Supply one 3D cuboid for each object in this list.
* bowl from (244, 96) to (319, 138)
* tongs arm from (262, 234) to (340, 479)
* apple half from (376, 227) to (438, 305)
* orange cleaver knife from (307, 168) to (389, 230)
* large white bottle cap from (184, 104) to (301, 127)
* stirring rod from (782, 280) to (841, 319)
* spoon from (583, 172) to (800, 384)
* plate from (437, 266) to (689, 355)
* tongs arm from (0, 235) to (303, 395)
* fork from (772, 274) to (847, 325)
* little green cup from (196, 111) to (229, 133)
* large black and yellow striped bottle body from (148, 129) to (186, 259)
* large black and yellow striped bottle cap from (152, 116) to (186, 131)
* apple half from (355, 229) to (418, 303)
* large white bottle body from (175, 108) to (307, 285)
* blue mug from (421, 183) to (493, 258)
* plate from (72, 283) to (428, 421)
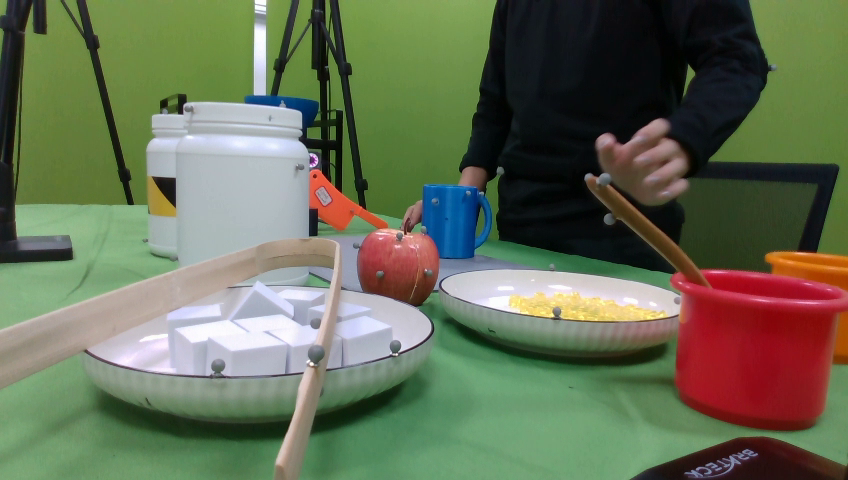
[{"bbox_3d":[-0.295,-0.252,1.254,0.151,0.077,0.151,2,7,0],"label":"bowl"},{"bbox_3d":[-0.074,0.039,0.349,0.051,0.026,0.384,-2,10,-3],"label":"tongs arm"},{"bbox_3d":[-0.017,0.026,0.593,0.080,0.074,0.053,4,2,43],"label":"apple half"},{"bbox_3d":[-0.158,-0.060,1.166,0.212,0.077,0.012,34,-12,-32],"label":"orange cleaver knife"},{"bbox_3d":[-0.184,-0.126,0.618,0.115,0.018,0.115,2,8,0],"label":"large white bottle cap"},{"bbox_3d":[0.344,0.019,0.460,0.014,0.006,0.176,-13,-27,-30],"label":"stirring rod"},{"bbox_3d":[0.159,0.026,0.358,0.194,0.021,0.041,46,-2,-14],"label":"spoon"},{"bbox_3d":[0.114,0.057,0.517,0.209,0.038,0.209,3,7,0],"label":"plate"},{"bbox_3d":[-0.157,0.038,0.351,0.028,0.028,0.388,-3,9,12],"label":"tongs arm"},{"bbox_3d":[0.332,0.018,0.442,0.028,0.018,0.207,-1,-36,-16],"label":"fork"},{"bbox_3d":[-0.403,-0.225,1.154,0.061,0.038,0.061,3,8,0],"label":"little green cup"},{"bbox_3d":[-0.310,-0.073,0.838,0.131,0.184,0.130,2,8,0],"label":"large black and yellow striped bottle body"},{"bbox_3d":[-0.309,-0.155,0.826,0.115,0.019,0.115,3,6,0],"label":"large black and yellow striped bottle cap"},{"bbox_3d":[-0.043,0.027,0.564,0.081,0.081,0.033,9,5,42],"label":"apple half"},{"bbox_3d":[-0.188,-0.042,0.630,0.131,0.184,0.130,2,8,0],"label":"large white bottle body"},{"bbox_3d":[0.052,-0.032,0.912,0.117,0.106,0.082,-1,8,-24],"label":"blue mug"},{"bbox_3d":[-0.102,0.066,0.381,0.208,0.039,0.207,2,7,0],"label":"plate"}]
